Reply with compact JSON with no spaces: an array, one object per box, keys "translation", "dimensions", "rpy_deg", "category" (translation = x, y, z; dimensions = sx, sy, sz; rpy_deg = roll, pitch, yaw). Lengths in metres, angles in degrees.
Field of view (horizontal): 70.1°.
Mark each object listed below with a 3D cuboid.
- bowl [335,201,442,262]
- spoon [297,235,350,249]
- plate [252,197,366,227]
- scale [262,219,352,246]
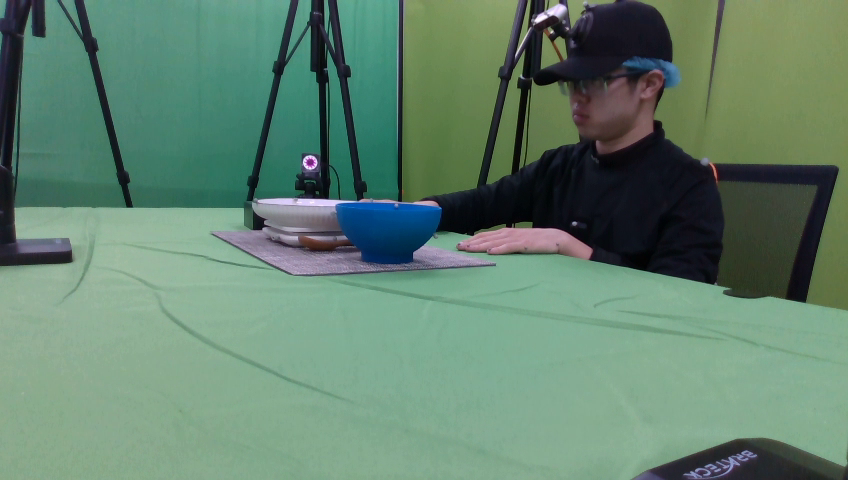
[{"translation":[-0.051,-0.012,0.848],"dimensions":[0.151,0.077,0.151],"rpy_deg":[2,7,0],"category":"bowl"},{"translation":[-0.102,0.002,0.942],"dimensions":[0.195,0.021,0.041],"rpy_deg":[-1,-6,-31],"category":"spoon"},{"translation":[-0.179,-0.047,1.012],"dimensions":[0.209,0.038,0.209],"rpy_deg":[2,6,0],"category":"plate"},{"translation":[-0.159,-0.015,1.027],"dimensions":[0.202,0.031,0.148],"rpy_deg":[-2,8,-31],"category":"scale"}]
